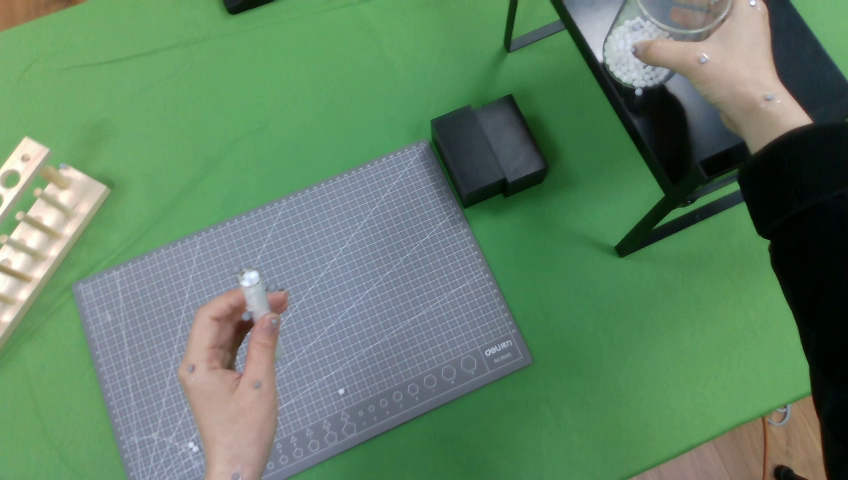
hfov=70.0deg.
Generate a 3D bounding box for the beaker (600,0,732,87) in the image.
[{"bbox_3d":[0.190,-0.180,0.498,0.074,0.100,0.083,-30,79,-7],"label":"beaker"}]

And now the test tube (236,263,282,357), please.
[{"bbox_3d":[-0.120,0.057,0.450,0.017,0.151,0.017,3,60,-5],"label":"test tube"}]

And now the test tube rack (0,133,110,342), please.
[{"bbox_3d":[-0.468,0.011,0.673,0.066,0.085,0.241,27,77,9],"label":"test tube rack"}]
